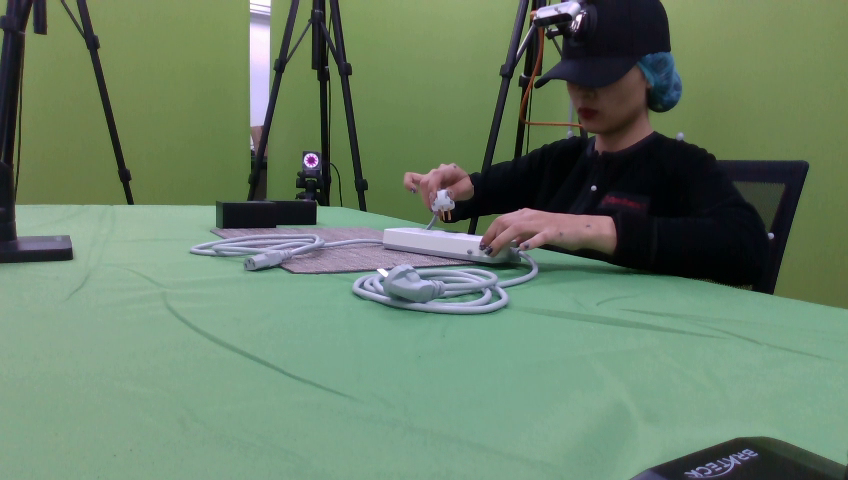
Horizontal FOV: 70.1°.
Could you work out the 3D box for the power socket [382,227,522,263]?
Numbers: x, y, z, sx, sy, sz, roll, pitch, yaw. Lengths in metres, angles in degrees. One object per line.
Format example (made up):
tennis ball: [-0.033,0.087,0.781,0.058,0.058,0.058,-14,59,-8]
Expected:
power socket: [0.035,0.005,0.907,0.225,0.032,0.072,8,8,34]

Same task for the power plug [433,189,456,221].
power plug: [0.037,-0.050,0.927,0.035,0.052,0.073,-9,-14,19]
